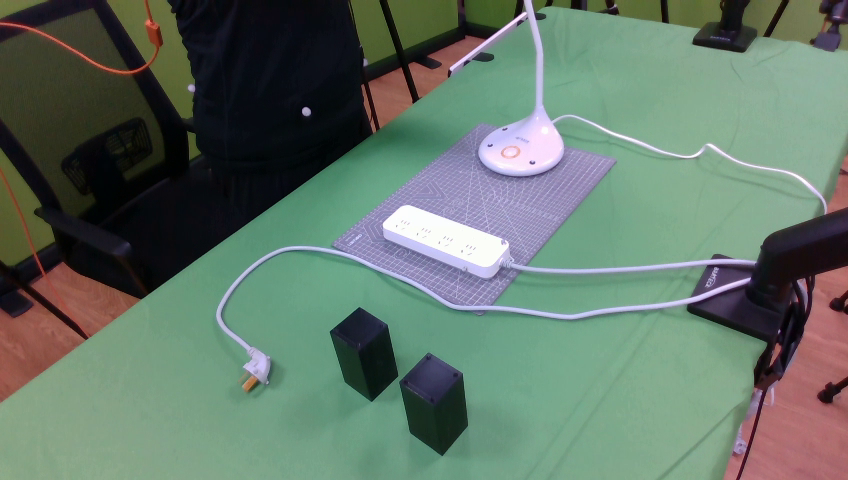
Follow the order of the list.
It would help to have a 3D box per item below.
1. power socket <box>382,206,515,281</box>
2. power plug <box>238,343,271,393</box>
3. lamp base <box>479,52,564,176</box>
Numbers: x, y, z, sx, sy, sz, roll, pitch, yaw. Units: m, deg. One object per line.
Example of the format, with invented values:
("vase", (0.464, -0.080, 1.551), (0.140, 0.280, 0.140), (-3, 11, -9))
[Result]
("power socket", (0.032, 0.002, 0.950), (0.225, 0.033, 0.072), (21, 49, 29))
("power plug", (-0.230, 0.172, 0.801), (0.072, 0.035, 0.053), (9, 51, 50))
("lamp base", (0.181, -0.235, 1.094), (0.159, 0.181, 0.179), (18, 44, 27))
